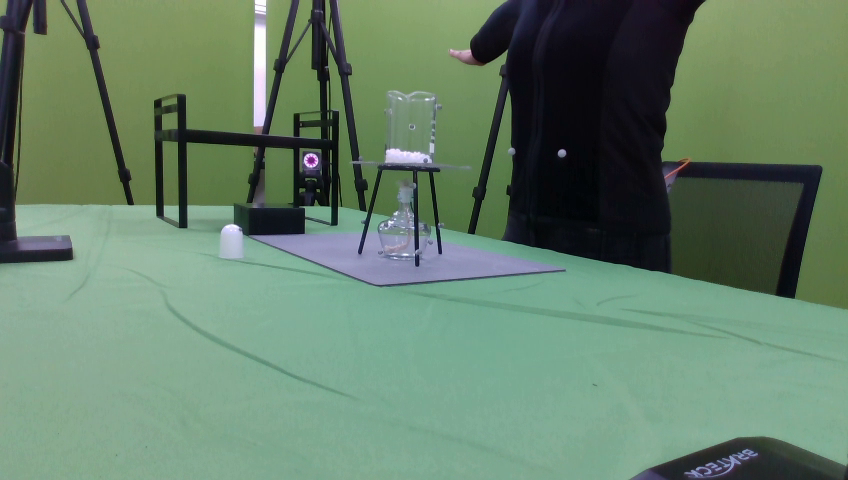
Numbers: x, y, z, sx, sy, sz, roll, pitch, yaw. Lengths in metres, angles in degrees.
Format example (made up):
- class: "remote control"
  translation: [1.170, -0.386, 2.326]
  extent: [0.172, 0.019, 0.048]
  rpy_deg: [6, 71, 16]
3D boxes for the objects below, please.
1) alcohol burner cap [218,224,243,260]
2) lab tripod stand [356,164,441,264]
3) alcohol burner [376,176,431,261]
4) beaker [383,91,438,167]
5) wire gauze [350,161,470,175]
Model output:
- class: "alcohol burner cap"
  translation: [-0.263, 0.002, 0.824]
  extent: [0.034, 0.048, 0.034]
  rpy_deg: [5, 8, 0]
- class: "lab tripod stand"
  translation: [-0.024, -0.041, 0.859]
  extent: [0.148, 0.131, 0.148]
  rpy_deg: [2, 5, 0]
- class: "alcohol burner"
  translation: [-0.029, -0.031, 0.859]
  extent: [0.078, 0.119, 0.078]
  rpy_deg: [2, 9, 0]
- class: "beaker"
  translation: [-0.020, -0.152, 0.838]
  extent: [0.074, 0.100, 0.084]
  rpy_deg: [4, 7, 7]
- class: "wire gauze"
  translation: [-0.020, -0.105, 0.847]
  extent: [0.121, 0.011, 0.126]
  rpy_deg: [11, 8, 42]
